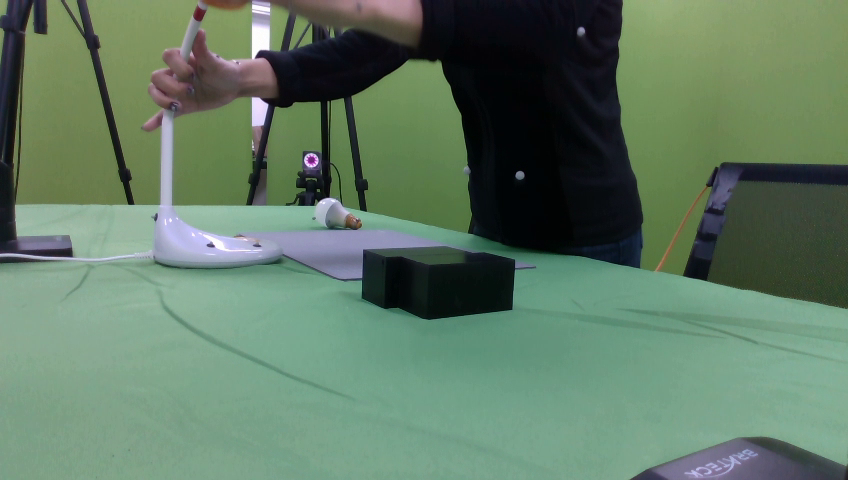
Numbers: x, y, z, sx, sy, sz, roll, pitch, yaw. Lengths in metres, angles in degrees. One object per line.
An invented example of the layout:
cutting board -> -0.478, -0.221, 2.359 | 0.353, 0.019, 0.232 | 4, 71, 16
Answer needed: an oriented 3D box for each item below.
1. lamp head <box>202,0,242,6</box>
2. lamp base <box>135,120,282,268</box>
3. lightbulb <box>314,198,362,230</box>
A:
lamp head -> -0.205, -0.300, 0.609 | 0.112, 0.122, 0.112 | 8, -7, 1
lamp base -> -0.275, -0.061, 0.772 | 0.180, 0.180, 0.160 | -8, 12, -42
lightbulb -> -0.172, -0.047, 1.219 | 0.107, 0.059, 0.060 | 23, 15, 22
